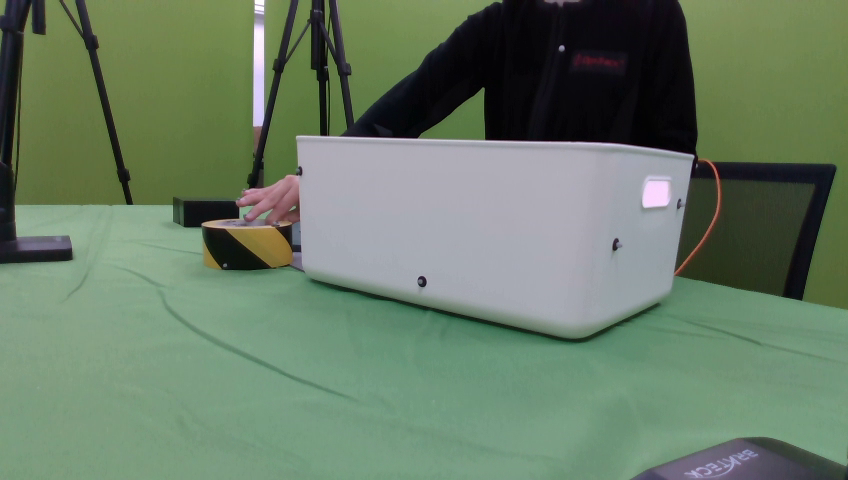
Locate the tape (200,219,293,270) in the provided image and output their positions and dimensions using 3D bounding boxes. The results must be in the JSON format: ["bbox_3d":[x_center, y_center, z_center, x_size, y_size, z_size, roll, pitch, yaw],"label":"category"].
[{"bbox_3d":[-0.228,0.004,0.777,0.117,0.052,0.117,1,8,0],"label":"tape"}]

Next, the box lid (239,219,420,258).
[{"bbox_3d":[-0.141,-0.006,1.057,0.263,0.015,0.371,4,7,0],"label":"box lid"}]

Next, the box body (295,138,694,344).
[{"bbox_3d":[0.065,-0.020,0.653,0.362,0.160,0.255,9,9,36],"label":"box body"}]
